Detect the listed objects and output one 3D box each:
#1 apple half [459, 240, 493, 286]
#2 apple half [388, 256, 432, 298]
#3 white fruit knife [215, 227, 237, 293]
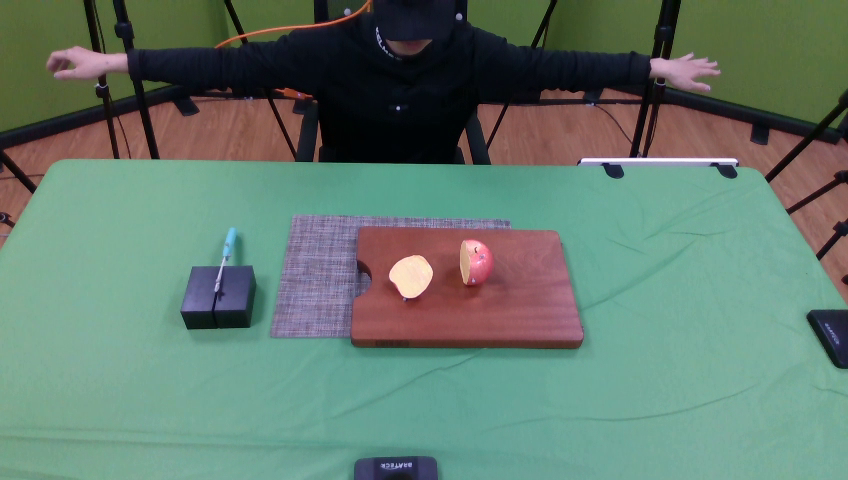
[{"bbox_3d":[0.096,0.042,1.093,0.053,0.075,0.080,-1,42,-11],"label":"apple half"},{"bbox_3d":[-0.019,0.069,1.080,0.081,0.033,0.081,-6,62,12],"label":"apple half"},{"bbox_3d":[-0.360,0.033,1.100,0.016,0.027,0.206,0,32,-9],"label":"white fruit knife"}]
